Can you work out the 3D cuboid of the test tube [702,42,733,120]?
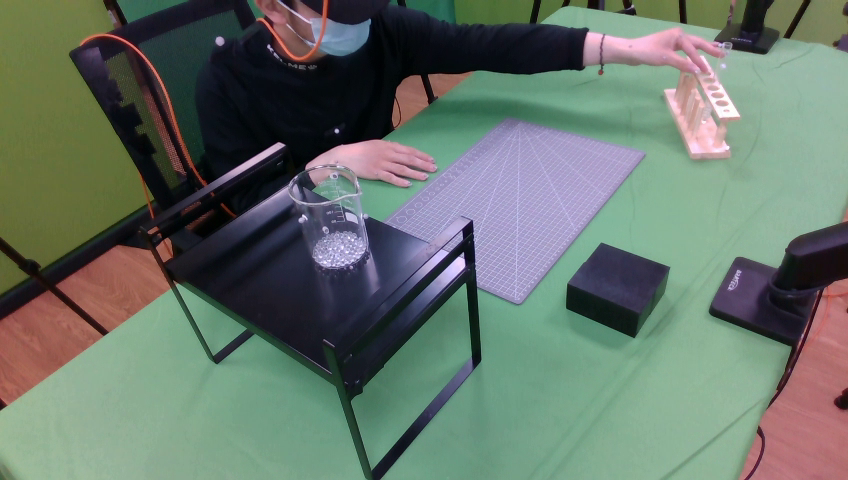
[{"bbox_3d":[0.531,-0.285,1.098,0.017,0.151,0.017,-1,41,1],"label":"test tube"}]

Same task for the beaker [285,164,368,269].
[{"bbox_3d":[-0.101,-0.024,0.676,0.083,0.101,0.074,8,43,17],"label":"beaker"}]

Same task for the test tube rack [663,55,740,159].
[{"bbox_3d":[0.518,-0.256,1.144,0.066,0.085,0.241,-1,41,8],"label":"test tube rack"}]
